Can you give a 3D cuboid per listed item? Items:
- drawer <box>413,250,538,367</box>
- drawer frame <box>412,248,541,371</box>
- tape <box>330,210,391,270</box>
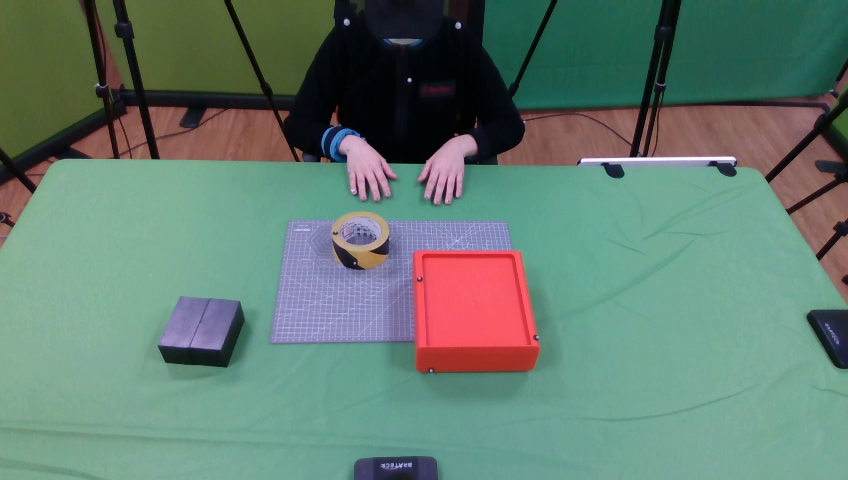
[{"bbox_3d":[0.080,0.114,1.047,0.195,0.073,0.210,1,47,-4],"label":"drawer"},{"bbox_3d":[0.082,0.116,1.046,0.202,0.083,0.212,0,47,-4],"label":"drawer frame"},{"bbox_3d":[-0.123,-0.002,1.164,0.117,0.053,0.116,3,46,-3],"label":"tape"}]
